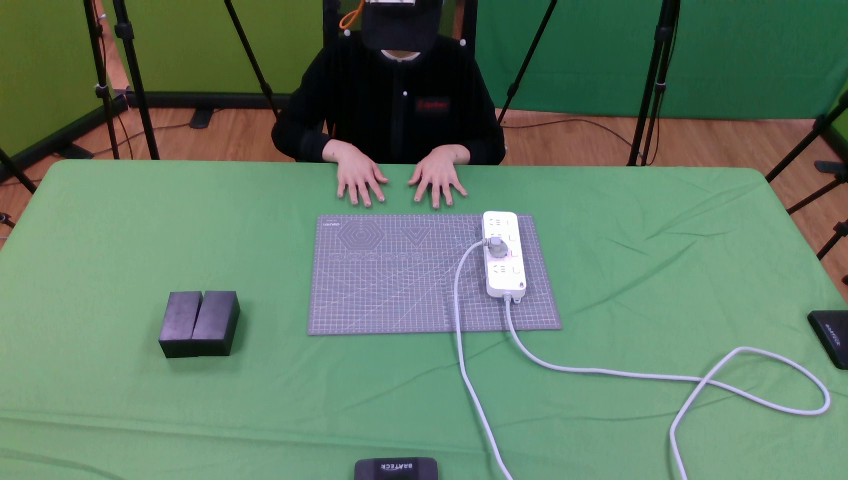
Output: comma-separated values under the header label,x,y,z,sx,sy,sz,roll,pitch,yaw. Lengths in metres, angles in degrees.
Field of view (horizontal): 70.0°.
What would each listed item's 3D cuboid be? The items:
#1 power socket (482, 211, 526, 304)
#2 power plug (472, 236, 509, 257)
label,x,y,z,sx,sy,sz,roll,pitch,yaw
power socket,0.153,0.025,1.174,0.072,0.033,0.225,1,46,0
power plug,0.126,0.013,1.149,0.072,0.053,0.035,11,46,5
